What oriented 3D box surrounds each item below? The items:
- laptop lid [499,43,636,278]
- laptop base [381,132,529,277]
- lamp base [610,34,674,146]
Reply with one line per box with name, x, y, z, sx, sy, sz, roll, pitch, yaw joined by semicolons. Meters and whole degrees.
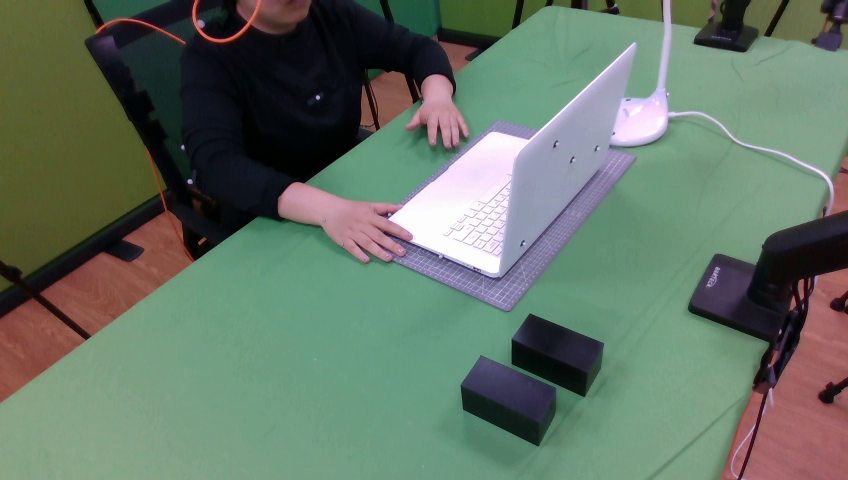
laptop lid;0.217;-0.122;0.898;0.013;0.242;0.358;28;50;25
laptop base;0.122;-0.077;1.043;0.233;0.023;0.355;20;47;33
lamp base;0.392;-0.291;1.129;0.180;0.181;0.159;-11;41;-8
